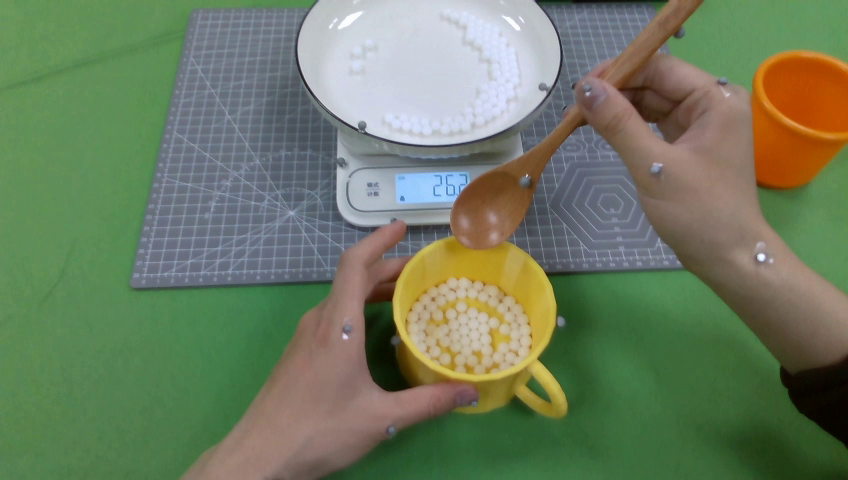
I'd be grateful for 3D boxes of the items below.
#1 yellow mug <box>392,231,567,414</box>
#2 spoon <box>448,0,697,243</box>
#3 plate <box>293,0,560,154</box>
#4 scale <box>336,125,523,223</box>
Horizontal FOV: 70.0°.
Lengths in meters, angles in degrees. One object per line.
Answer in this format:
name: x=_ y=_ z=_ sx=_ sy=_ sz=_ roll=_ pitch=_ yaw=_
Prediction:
yellow mug: x=0.041 y=0.061 z=0.388 sx=0.100 sy=0.064 sz=0.130 roll=-40 pitch=69 yaw=-20
spoon: x=0.081 y=-0.068 z=0.334 sx=0.041 sy=0.194 sz=0.021 roll=46 pitch=30 yaw=5
plate: x=0.002 y=-0.148 z=0.485 sx=0.209 sy=0.038 sz=0.207 roll=1 pitch=60 yaw=-2
scale: x=0.003 y=-0.106 z=0.498 sx=0.149 sy=0.032 sz=0.199 roll=-2 pitch=61 yaw=-2
